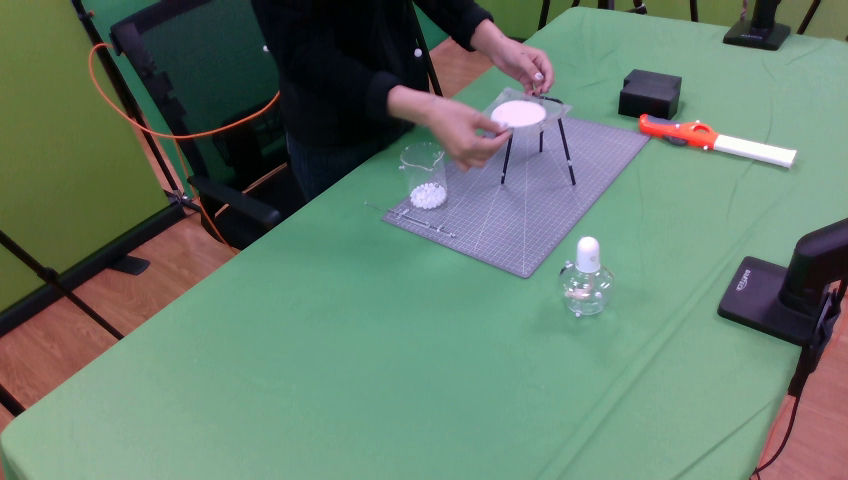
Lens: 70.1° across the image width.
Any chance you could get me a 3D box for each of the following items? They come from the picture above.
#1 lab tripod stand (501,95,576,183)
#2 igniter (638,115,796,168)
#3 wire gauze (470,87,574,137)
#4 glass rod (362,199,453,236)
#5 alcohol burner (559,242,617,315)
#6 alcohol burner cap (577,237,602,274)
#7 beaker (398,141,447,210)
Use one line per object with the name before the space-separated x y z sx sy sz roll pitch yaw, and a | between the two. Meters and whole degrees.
lab tripod stand | 0.204 -0.174 1.057 0.148 0.132 0.147 -4 40 4
igniter | 0.517 -0.181 1.093 0.274 0.025 0.057 23 65 32
wire gauze | 0.156 -0.203 0.962 0.120 0.011 0.125 22 48 29
glass rod | -0.031 -0.041 1.041 0.198 0.008 0.008 22 50 31
alcohol burner | 0.222 0.045 0.816 0.078 0.119 0.077 -4 42 4
alcohol burner cap | 0.217 0.018 0.793 0.034 0.048 0.033 -7 35 6
beaker | 0.002 -0.108 1.043 0.074 0.101 0.083 -19 42 -11
